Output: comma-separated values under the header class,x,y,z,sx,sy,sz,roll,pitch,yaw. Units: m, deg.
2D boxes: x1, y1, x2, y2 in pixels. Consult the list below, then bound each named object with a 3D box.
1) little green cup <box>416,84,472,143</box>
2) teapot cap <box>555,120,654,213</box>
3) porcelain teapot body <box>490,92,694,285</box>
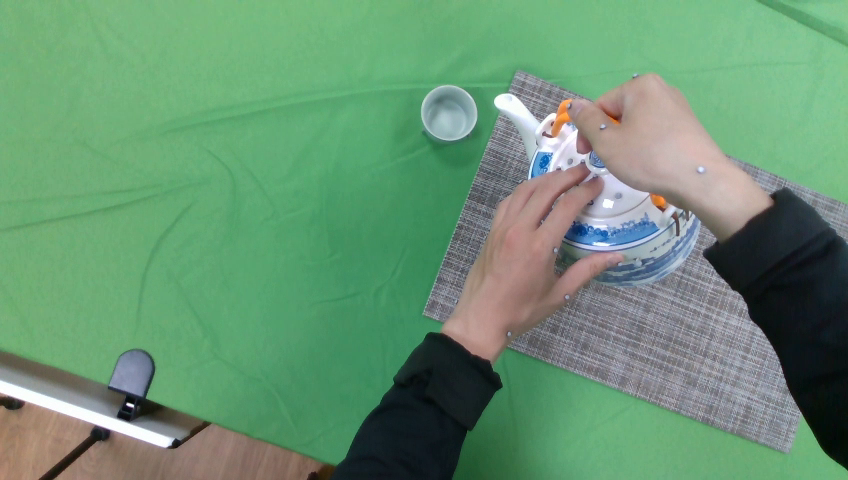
class,x,y,z,sx,sy,sz,roll,pitch,yaw
little green cup,0.020,-0.138,0.672,0.061,0.038,0.061,0,85,-4
teapot cap,0.152,-0.065,0.515,0.085,0.044,0.084,-9,68,22
porcelain teapot body,0.146,-0.066,0.564,0.203,0.227,0.145,38,91,30
